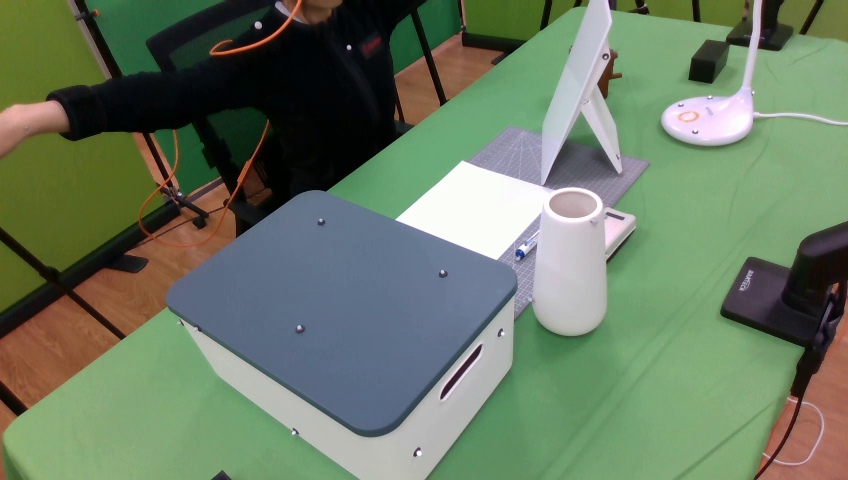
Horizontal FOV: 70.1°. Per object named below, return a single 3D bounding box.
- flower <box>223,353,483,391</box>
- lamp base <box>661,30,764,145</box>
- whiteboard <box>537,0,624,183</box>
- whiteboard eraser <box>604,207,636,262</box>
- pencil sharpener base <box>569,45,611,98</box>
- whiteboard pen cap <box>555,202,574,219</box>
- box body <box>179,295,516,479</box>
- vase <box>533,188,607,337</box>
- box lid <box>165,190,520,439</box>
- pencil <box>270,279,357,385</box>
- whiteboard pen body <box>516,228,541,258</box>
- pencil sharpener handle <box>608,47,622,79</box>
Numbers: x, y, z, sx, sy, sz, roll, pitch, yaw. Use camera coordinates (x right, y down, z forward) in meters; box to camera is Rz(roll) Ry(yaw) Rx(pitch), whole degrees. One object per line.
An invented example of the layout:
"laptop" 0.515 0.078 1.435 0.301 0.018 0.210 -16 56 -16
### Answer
"flower" -0.087 0.179 0.778 0.361 0.038 0.044 -6 60 7
"lamp base" 0.535 -0.287 1.096 0.179 0.181 0.159 -10 40 -4
"whiteboard" 0.316 -0.256 1.047 0.144 0.306 0.216 15 42 -1
"whiteboard eraser" 0.272 -0.003 0.919 0.055 0.042 0.113 27 51 32
"pencil sharpener base" 0.346 -0.352 1.262 0.077 0.107 0.061 -10 40 -1
"whiteboard pen cap" 0.230 -0.048 0.994 0.018 0.018 0.033 26 54 34
"box body" -0.093 0.113 0.757 0.361 0.161 0.255 22 49 32
"vase" 0.187 0.033 0.771 0.098 0.201 0.097 -6 41 6
"box lid" -0.104 0.056 0.711 0.368 0.015 0.264 22 49 32
"pencil" -0.155 0.128 0.860 0.012 0.012 0.194 20 57 30
"whiteboard pen body" 0.192 -0.015 0.964 0.017 0.017 0.141 26 51 34
"pencil sharpener handle" 0.395 -0.369 1.254 0.031 0.068 0.036 -10 32 -1
